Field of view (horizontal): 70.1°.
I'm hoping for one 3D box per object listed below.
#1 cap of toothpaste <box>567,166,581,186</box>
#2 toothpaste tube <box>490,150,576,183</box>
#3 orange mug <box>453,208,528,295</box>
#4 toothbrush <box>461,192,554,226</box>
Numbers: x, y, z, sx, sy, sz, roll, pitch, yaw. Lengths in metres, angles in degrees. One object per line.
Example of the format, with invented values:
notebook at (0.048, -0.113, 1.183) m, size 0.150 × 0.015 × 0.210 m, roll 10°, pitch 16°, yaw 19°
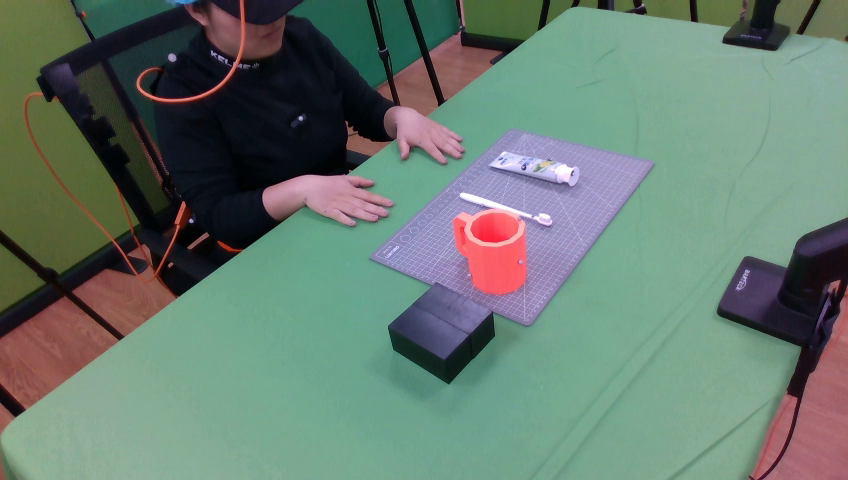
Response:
cap of toothpaste at (0.260, -0.112, 1.053) m, size 0.011 × 0.037 × 0.037 m, roll 22°, pitch 50°, yaw 37°
toothpaste tube at (0.202, -0.135, 1.099) m, size 0.164 × 0.034 × 0.055 m, roll 21°, pitch 45°, yaw 34°
orange mug at (0.094, 0.009, 0.894) m, size 0.125 × 0.101 × 0.084 m, roll 32°, pitch 55°, yaw 33°
toothbrush at (0.137, -0.056, 1.026) m, size 0.180 × 0.017 × 0.014 m, roll 20°, pitch 62°, yaw 32°
